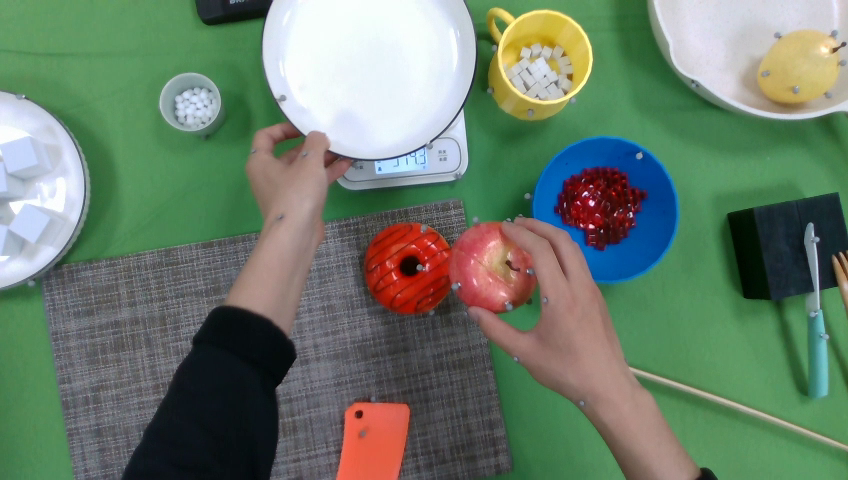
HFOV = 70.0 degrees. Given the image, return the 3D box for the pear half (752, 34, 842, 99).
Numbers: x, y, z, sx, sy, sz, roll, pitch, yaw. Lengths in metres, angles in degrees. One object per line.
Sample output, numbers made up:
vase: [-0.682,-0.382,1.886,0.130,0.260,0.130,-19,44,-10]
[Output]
pear half: [0.402,-0.185,0.651,0.076,0.110,0.056,27,86,1]

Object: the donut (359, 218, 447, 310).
donut: [-0.021,0.025,0.640,0.099,0.048,0.099,0,88,-2]

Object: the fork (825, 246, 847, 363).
fork: [0.472,0.105,0.669,0.028,0.018,0.208,-20,104,-7]

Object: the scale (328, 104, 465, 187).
scale: [-0.036,-0.163,0.658,0.149,0.031,0.200,-6,88,-4]

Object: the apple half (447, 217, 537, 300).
apple half: [0.065,0.010,0.535,0.081,0.074,0.053,38,79,-4]

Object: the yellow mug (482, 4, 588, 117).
yellow mug: [0.109,-0.202,0.654,0.100,0.064,0.131,-43,90,-4]

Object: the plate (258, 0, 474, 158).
plate: [-0.055,-0.185,0.596,0.209,0.038,0.209,0,93,-2]

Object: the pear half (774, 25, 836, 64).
pear half: [0.420,-0.216,0.664,0.070,0.088,0.031,25,87,1]

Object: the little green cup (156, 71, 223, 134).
little green cup: [-0.243,-0.142,0.637,0.061,0.038,0.061,0,87,-4]

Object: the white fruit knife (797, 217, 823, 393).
white fruit knife: [0.417,0.076,0.659,0.016,0.027,0.208,-12,103,-4]

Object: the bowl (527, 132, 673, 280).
bowl: [0.176,-0.032,0.646,0.151,0.077,0.151,0,88,-4]

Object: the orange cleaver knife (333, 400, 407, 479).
orange cleaver knife: [-0.075,0.266,0.635,0.077,0.012,0.211,19,83,-10]

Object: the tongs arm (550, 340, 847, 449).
tongs arm: [0.320,0.181,0.666,0.388,0.028,0.028,21,80,-3]

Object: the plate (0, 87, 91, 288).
plate: [-0.444,-0.052,0.616,0.208,0.039,0.207,0,87,-5]

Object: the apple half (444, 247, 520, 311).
apple half: [0.043,0.041,0.529,0.081,0.081,0.033,37,79,-1]

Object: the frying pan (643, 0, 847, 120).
frying pan: [0.440,-0.194,0.662,0.307,0.103,0.486,-37,82,-4]
